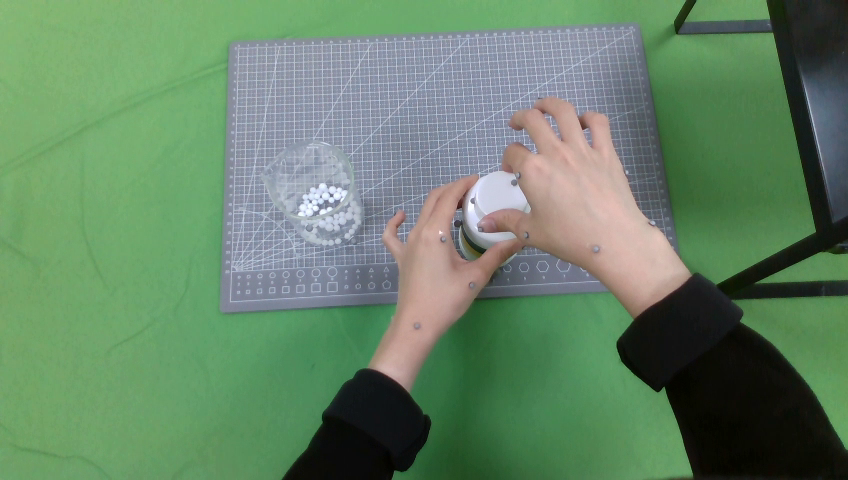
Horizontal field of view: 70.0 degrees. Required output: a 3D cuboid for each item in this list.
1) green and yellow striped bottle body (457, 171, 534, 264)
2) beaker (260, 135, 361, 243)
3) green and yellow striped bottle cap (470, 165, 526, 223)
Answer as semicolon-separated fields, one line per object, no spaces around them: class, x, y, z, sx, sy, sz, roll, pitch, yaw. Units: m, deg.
green and yellow striped bottle body;0.063;-0.023;0.546;0.063;0.120;0.063;0;74;1
beaker;-0.100;-0.042;0.562;0.084;0.101;0.073;8;73;3
green and yellow striped bottle cap;0.060;-0.038;0.494;0.045;0.020;0.045;0;74;0
